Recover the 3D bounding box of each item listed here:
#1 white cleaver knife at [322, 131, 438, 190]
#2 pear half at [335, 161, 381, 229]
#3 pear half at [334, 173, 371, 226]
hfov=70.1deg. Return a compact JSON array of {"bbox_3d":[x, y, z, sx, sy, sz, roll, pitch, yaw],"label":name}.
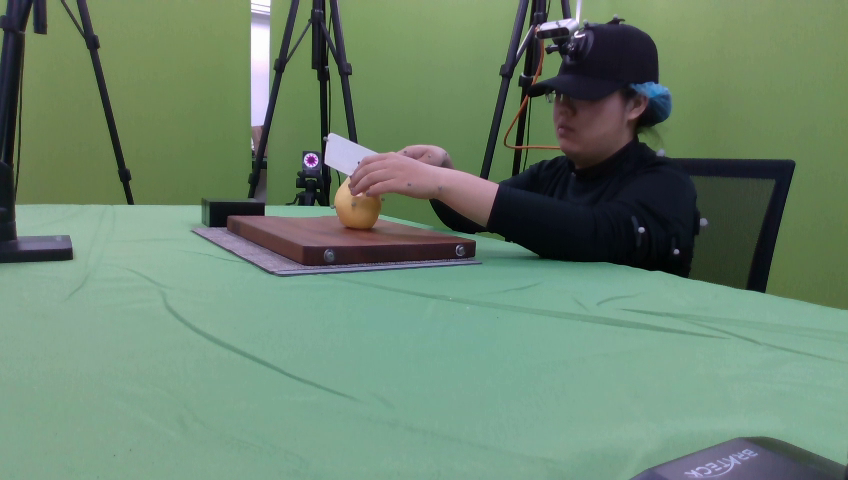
[{"bbox_3d":[-0.070,-0.121,1.048,0.021,0.066,0.288,-1,-9,40],"label":"white cleaver knife"},{"bbox_3d":[-0.100,-0.072,0.976,0.055,0.110,0.077,11,14,42],"label":"pear half"},{"bbox_3d":[-0.124,-0.067,1.004,0.031,0.088,0.071,7,16,42],"label":"pear half"}]
